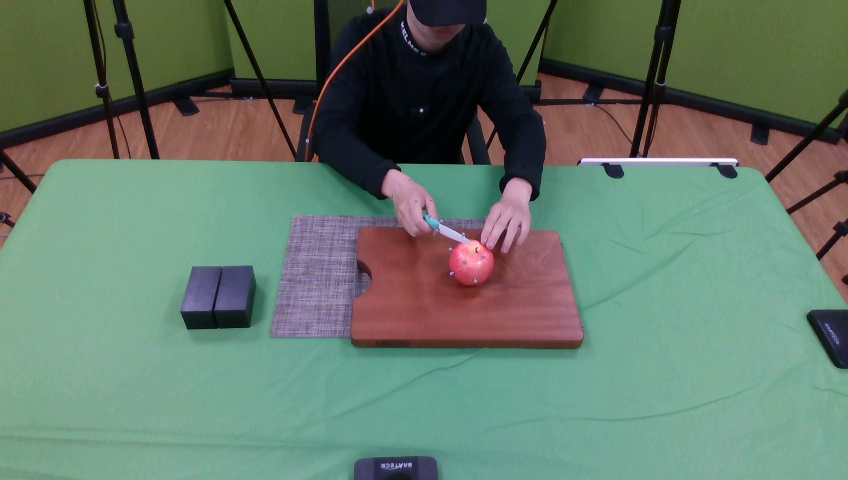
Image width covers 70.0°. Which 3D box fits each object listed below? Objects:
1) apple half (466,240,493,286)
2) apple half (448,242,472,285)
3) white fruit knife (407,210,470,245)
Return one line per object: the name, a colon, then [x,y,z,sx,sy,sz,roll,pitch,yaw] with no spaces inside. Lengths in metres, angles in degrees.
apple half: [0.097,0.042,1.093,0.053,0.075,0.080,-3,43,-13]
apple half: [0.059,0.046,1.085,0.033,0.081,0.080,-4,46,-13]
white fruit knife: [0.024,-0.023,1.095,0.016,0.027,0.206,-31,29,-21]
